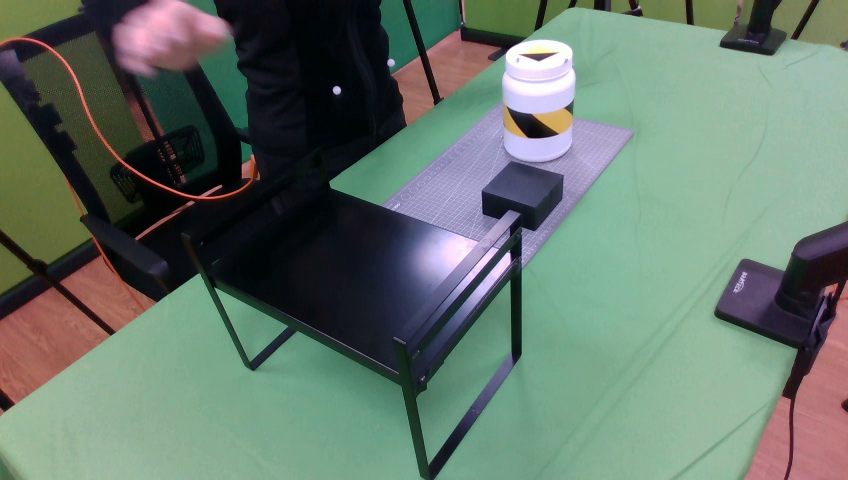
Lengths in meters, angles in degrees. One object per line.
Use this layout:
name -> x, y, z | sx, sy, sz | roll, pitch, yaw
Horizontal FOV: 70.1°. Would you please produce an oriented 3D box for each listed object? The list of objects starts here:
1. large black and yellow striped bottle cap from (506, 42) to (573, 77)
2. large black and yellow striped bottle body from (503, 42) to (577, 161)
large black and yellow striped bottle cap -> 0.201, -0.317, 1.056 | 0.115, 0.019, 0.114 | -3, 40, 3
large black and yellow striped bottle body -> 0.212, -0.253, 1.110 | 0.131, 0.185, 0.130 | -5, 41, 5
